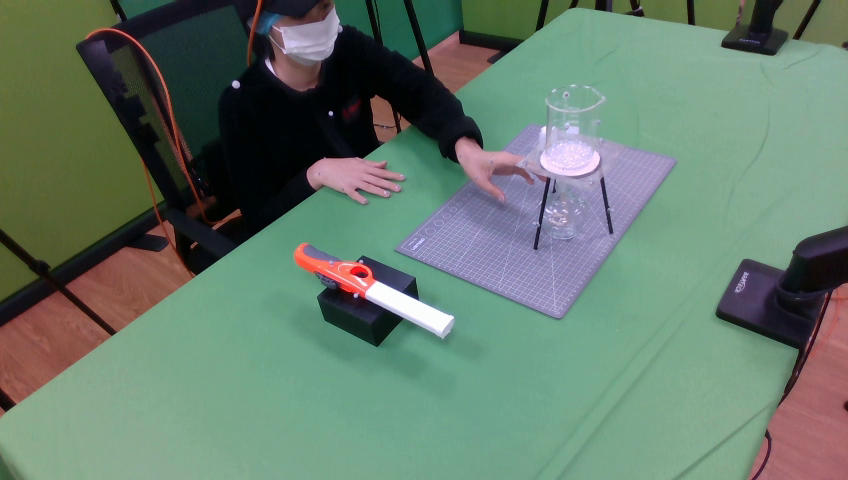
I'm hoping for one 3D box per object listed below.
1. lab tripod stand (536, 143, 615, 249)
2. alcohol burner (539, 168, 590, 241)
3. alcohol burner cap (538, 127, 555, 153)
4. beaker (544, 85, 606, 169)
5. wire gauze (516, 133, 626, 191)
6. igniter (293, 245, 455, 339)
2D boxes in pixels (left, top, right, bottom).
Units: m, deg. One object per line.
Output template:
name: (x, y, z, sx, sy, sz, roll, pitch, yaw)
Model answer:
lab tripod stand: (0.224, -0.069, 0.931, 0.148, 0.132, 0.147, -4, 42, 4)
alcohol burner: (0.217, -0.059, 0.935, 0.078, 0.119, 0.077, -6, 40, 6)
alcohol burner cap: (0.234, -0.191, 1.147, 0.034, 0.048, 0.033, -5, 40, 5)
beaker: (0.212, -0.158, 0.861, 0.084, 0.101, 0.073, -3, 41, 6)
wire gauze: (0.217, -0.122, 0.893, 0.124, 0.011, 0.122, 20, 47, 32)
igniter: (-0.079, 0.066, 0.834, 0.274, 0.025, 0.057, 23, 48, 27)
